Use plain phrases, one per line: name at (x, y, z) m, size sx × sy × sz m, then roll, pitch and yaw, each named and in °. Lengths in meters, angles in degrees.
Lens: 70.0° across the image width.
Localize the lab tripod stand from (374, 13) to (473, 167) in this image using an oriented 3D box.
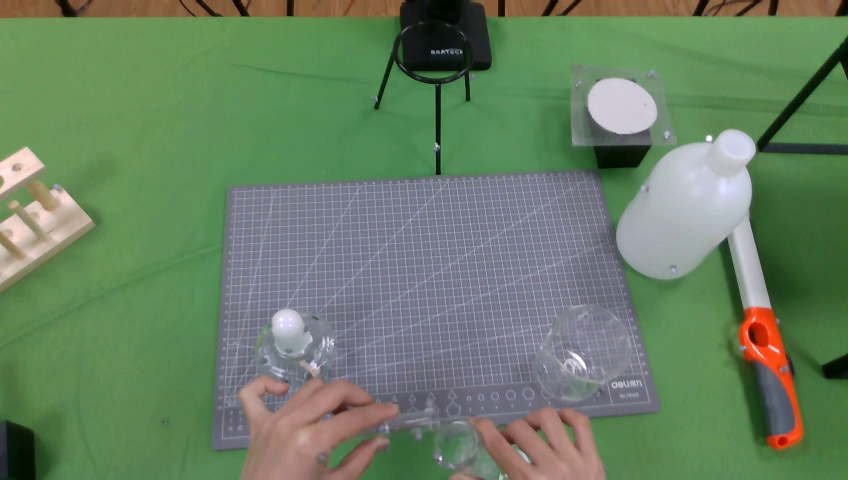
lab tripod stand at (0.008, -0.182, 0.715) m, size 0.148 × 0.132 × 0.147 m, roll 2°, pitch 64°, yaw -4°

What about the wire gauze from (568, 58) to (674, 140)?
wire gauze at (0.237, -0.171, 0.740) m, size 0.121 × 0.011 × 0.124 m, roll 4°, pitch 63°, yaw -2°

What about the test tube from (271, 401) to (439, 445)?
test tube at (-0.056, 0.138, 0.452) m, size 0.150 × 0.017 × 0.017 m, roll -17°, pitch 60°, yaw 26°

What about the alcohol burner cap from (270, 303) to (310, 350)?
alcohol burner cap at (-0.122, 0.076, 0.545) m, size 0.034 × 0.048 × 0.033 m, roll 1°, pitch 58°, yaw -1°

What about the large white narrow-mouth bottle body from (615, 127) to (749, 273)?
large white narrow-mouth bottle body at (0.274, -0.046, 0.631) m, size 0.102 × 0.196 × 0.101 m, roll 1°, pitch 63°, yaw -2°

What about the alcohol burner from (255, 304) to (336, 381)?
alcohol burner at (-0.124, 0.092, 0.577) m, size 0.078 × 0.120 × 0.077 m, roll 3°, pitch 62°, yaw -4°

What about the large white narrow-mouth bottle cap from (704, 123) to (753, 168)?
large white narrow-mouth bottle cap at (0.278, -0.087, 0.555) m, size 0.038 × 0.024 × 0.037 m, roll 1°, pitch 63°, yaw -2°

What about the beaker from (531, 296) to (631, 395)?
beaker at (0.146, 0.109, 0.595) m, size 0.084 × 0.101 × 0.073 m, roll -6°, pitch 63°, yaw -6°

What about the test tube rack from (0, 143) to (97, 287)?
test tube rack at (-0.473, 0.014, 0.610) m, size 0.066 × 0.086 × 0.242 m, roll 42°, pitch 68°, yaw 16°

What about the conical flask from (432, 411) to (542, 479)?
conical flask at (0.047, 0.175, 0.498) m, size 0.075 × 0.123 × 0.074 m, roll -13°, pitch 55°, yaw 20°

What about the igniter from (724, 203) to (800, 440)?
igniter at (0.367, 0.079, 0.669) m, size 0.057 × 0.025 × 0.274 m, roll 8°, pitch 62°, yaw -12°
